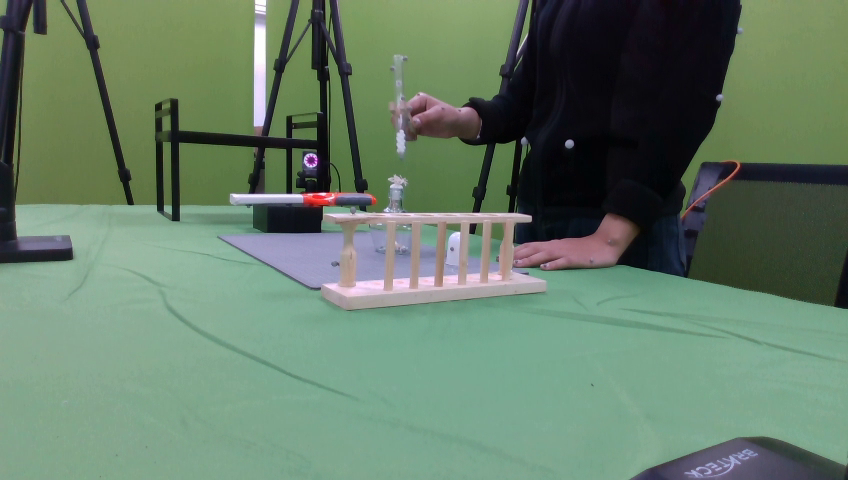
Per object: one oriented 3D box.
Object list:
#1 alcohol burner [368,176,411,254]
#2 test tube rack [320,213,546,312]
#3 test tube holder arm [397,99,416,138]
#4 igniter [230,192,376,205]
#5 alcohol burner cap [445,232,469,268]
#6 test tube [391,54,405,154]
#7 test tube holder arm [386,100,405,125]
[{"bbox_3d":[-0.045,-0.038,0.912,0.078,0.119,0.078,5,8,0],"label":"alcohol burner"},{"bbox_3d":[0.018,0.017,0.638,0.244,0.085,0.066,-2,9,-31],"label":"test tube rack"},{"bbox_3d":[-0.026,-0.192,0.971,0.013,0.015,0.178,-3,-5,7],"label":"test tube holder arm"},{"bbox_3d":[-0.226,-0.079,1.161,0.278,0.025,0.057,-2,15,-28],"label":"igniter"},{"bbox_3d":[0.046,0.013,0.829,0.034,0.048,0.034,2,8,0],"label":"alcohol burner cap"},{"bbox_3d":[-0.039,-0.203,0.905,0.017,0.150,0.017,-2,-2,0],"label":"test tube"},{"bbox_3d":[-0.039,-0.195,0.927,0.010,0.015,0.088,-4,-5,15],"label":"test tube holder arm"}]
